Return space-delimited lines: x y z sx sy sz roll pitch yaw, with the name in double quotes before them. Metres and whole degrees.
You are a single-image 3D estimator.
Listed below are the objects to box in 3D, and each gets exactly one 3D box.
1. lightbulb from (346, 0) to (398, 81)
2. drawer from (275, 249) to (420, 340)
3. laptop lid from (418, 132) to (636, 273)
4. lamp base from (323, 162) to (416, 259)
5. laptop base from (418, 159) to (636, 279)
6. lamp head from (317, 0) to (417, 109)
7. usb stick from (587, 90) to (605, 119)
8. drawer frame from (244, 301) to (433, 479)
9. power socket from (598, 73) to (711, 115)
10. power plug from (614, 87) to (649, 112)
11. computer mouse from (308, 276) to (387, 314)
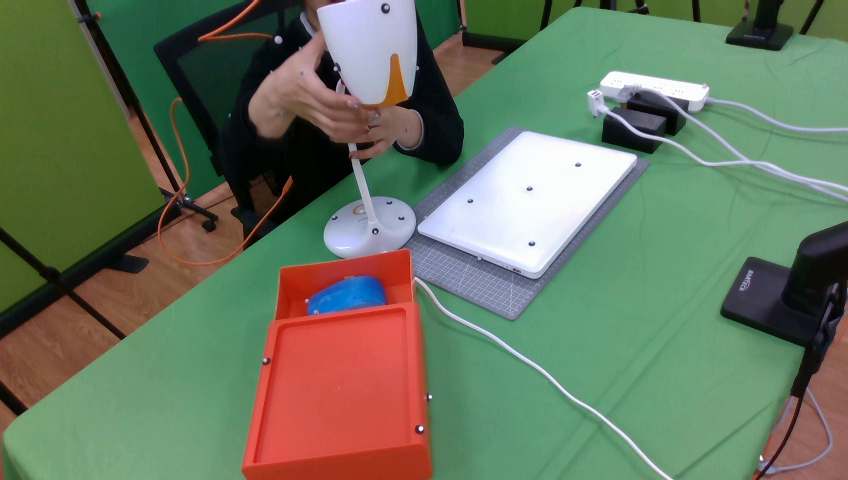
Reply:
"lightbulb" -0.057 -0.239 0.698 0.059 0.108 0.059 -6 14 2
"drawer" -0.104 0.116 0.826 0.194 0.073 0.210 -8 40 0
"laptop lid" 0.181 -0.084 1.036 0.239 0.013 0.358 22 49 35
"lamp base" -0.098 -0.073 0.968 0.161 0.181 0.177 -24 44 -14
"laptop base" 0.185 -0.074 1.042 0.233 0.023 0.355 19 48 35
"lamp head" -0.060 -0.216 0.708 0.112 0.123 0.112 -7 23 3
"usb stick" 0.334 -0.258 1.170 0.021 0.059 0.027 -28 44 -5
"drawer frame" -0.096 0.185 0.739 0.202 0.083 0.212 -8 40 1
"power socket" 0.469 -0.304 1.249 0.225 0.033 0.072 20 49 30
"power plug" 0.406 -0.275 1.193 0.035 0.053 0.072 -15 24 -15
"computer mouse" -0.113 0.089 0.883 0.117 0.041 0.062 -15 40 -2
